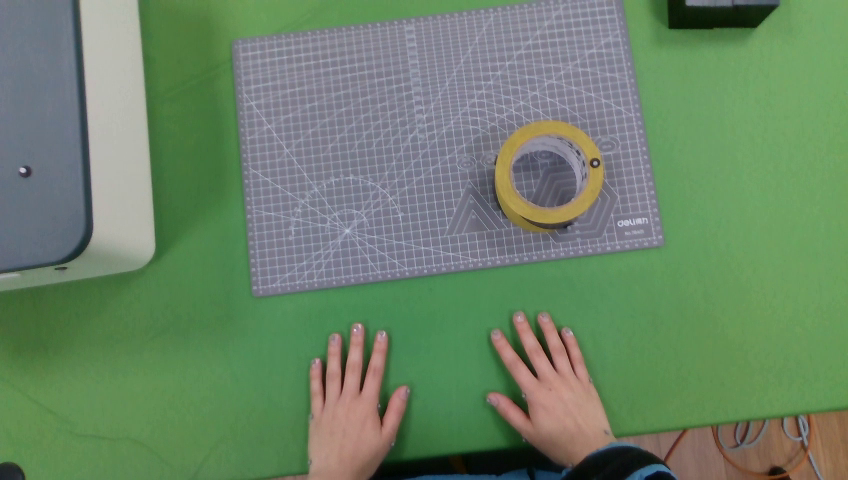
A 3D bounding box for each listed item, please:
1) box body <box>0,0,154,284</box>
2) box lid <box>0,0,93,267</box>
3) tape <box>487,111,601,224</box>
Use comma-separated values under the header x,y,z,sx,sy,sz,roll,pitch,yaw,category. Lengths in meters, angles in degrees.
x,y,z,sx,sy,sz,roll,pitch,yaw,category
-0.435,-0.139,0.610,0.254,0.161,0.363,-9,83,0,box body
-0.437,-0.152,0.537,0.263,0.015,0.370,-9,83,0,box lid
0.127,-0.074,0.642,0.117,0.053,0.116,0,83,2,tape
